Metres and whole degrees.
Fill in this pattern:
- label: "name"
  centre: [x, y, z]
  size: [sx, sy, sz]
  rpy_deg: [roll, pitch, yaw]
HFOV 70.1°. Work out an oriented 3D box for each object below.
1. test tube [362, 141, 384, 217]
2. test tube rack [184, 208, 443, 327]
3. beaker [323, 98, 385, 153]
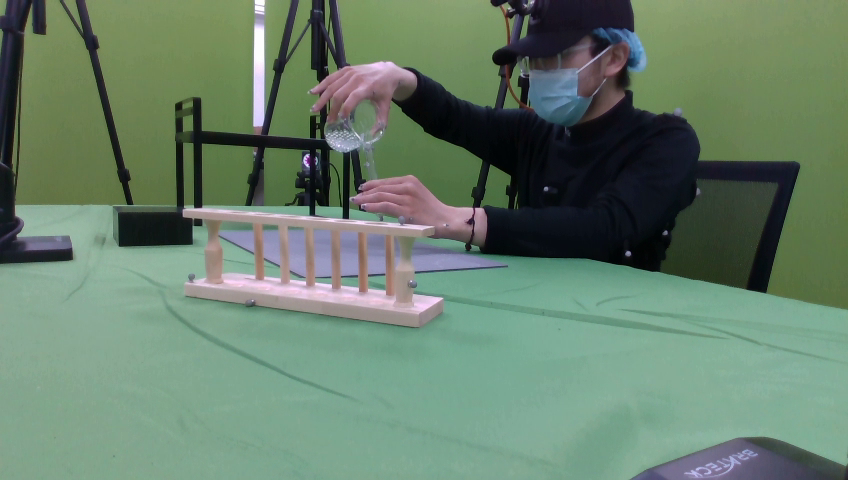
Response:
- label: "test tube"
  centre: [-0.085, -0.102, 1.002]
  size: [0.017, 0.149, 0.017]
  rpy_deg: [-10, -28, -5]
- label: "test tube rack"
  centre: [-0.106, 0.019, 0.570]
  size: [0.241, 0.085, 0.067]
  rpy_deg: [5, 8, 20]
- label: "beaker"
  centre: [-0.127, -0.197, 1.077]
  size: [0.074, 0.084, 0.100]
  rpy_deg: [3, -8, -37]
